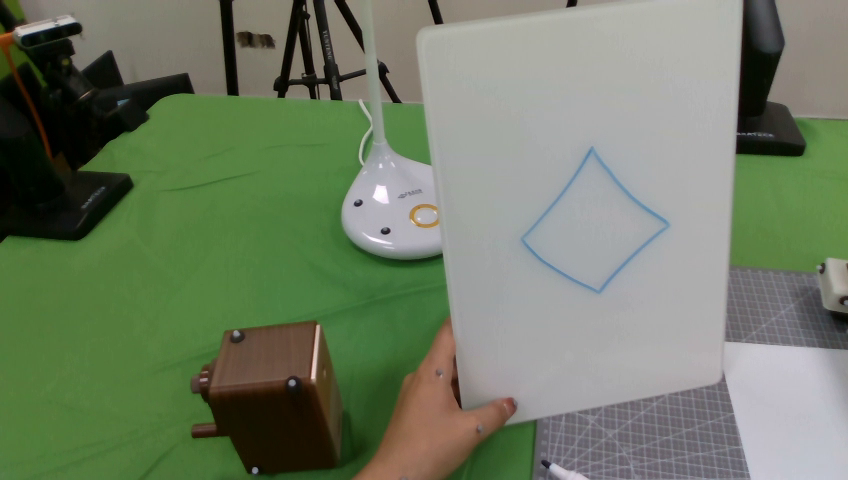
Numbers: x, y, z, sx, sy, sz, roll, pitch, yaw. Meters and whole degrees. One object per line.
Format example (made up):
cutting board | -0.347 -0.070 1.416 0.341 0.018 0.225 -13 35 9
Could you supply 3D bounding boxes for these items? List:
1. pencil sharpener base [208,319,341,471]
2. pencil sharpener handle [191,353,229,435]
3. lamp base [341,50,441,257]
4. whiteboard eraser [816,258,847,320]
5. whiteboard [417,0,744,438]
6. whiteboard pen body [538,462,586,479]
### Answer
pencil sharpener base | -0.108 0.117 0.451 0.077 0.108 0.060 -6 40 -1
pencil sharpener handle | -0.160 0.115 0.439 0.030 0.068 0.035 -6 27 0
lamp base | -0.027 -0.100 0.647 0.161 0.182 0.177 -27 43 -25
whiteboard eraser | 0.411 0.052 0.531 0.112 0.042 0.055 11 43 18
whiteboard | 0.112 -0.027 0.494 0.217 0.307 0.143 -9 21 -4
whiteboard pen body | 0.138 0.188 0.410 0.139 0.017 0.017 24 47 33
